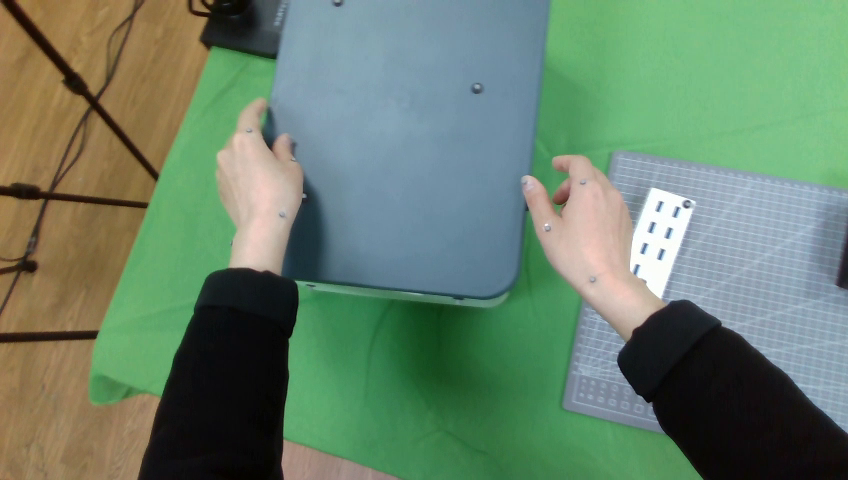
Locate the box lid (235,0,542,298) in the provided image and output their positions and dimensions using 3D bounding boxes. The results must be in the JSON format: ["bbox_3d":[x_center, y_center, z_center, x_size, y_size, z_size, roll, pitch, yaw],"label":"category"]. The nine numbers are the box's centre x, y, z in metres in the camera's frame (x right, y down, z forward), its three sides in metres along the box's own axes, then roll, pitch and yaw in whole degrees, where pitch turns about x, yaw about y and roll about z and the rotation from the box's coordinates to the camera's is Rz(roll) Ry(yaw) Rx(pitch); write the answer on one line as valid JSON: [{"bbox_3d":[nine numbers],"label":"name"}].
[{"bbox_3d":[-0.029,-0.133,0.581,0.263,0.015,0.370,5,78,9],"label":"box lid"}]

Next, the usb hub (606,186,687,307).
[{"bbox_3d":[0.243,0.007,0.661,0.049,0.025,0.125,20,81,10],"label":"usb hub"}]

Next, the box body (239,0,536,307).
[{"bbox_3d":[-0.020,-0.117,0.653,0.254,0.161,0.362,5,78,8],"label":"box body"}]
